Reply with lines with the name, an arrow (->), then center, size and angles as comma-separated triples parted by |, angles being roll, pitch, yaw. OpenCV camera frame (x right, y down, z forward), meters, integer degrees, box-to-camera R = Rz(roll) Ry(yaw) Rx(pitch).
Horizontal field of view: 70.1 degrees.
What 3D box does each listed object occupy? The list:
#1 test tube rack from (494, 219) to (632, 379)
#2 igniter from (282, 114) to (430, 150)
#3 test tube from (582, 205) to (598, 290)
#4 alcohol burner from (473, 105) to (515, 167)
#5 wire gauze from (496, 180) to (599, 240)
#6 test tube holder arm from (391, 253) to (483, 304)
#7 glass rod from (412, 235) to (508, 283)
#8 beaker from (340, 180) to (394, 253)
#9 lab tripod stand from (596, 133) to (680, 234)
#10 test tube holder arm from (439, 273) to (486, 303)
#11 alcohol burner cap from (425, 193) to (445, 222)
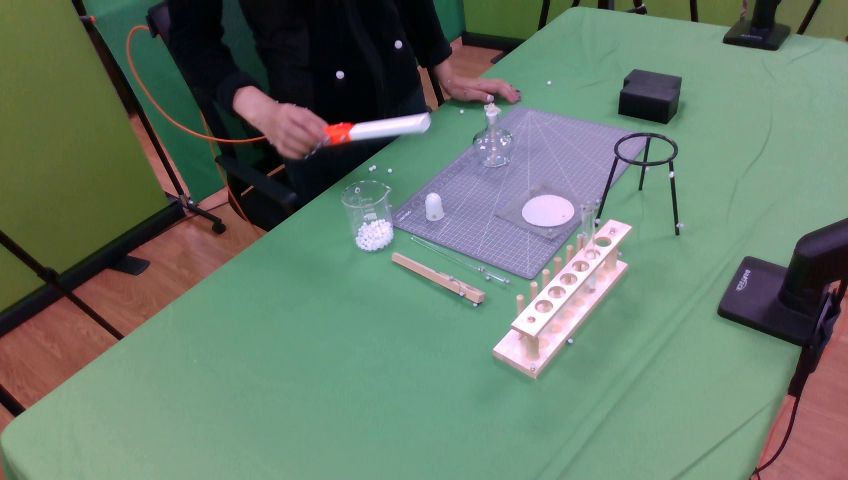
test tube rack -> 0.191, 0.068, 0.818 | 0.066, 0.085, 0.243 | 25, 51, 35
igniter -> -0.116, -0.166, 0.940 | 0.275, 0.025, 0.057 | -1, 34, 31
test tube -> 0.220, 0.014, 0.798 | 0.017, 0.151, 0.017 | -9, 43, 9
alcohol burner -> 0.128, -0.196, 1.116 | 0.078, 0.119, 0.077 | -4, 40, 4
wire gauze -> 0.206, -0.050, 1.012 | 0.125, 0.011, 0.120 | -34, 45, -26
test tube holder arm -> 0.016, 0.056, 0.917 | 0.177, 0.015, 0.013 | 24, 17, 34
glass rod -> 0.051, 0.028, 0.951 | 0.198, 0.008, 0.008 | 25, 51, 37
beaker -> -0.087, -0.037, 0.985 | 0.084, 0.101, 0.073 | -18, 41, -11
lab tripod stand -> 0.338, -0.091, 0.940 | 0.148, 0.132, 0.147 | -7, 39, 6
test tube holder arm -> 0.053, 0.070, 0.896 | 0.087, 0.015, 0.010 | 24, 17, 34
alcohol burner cap -> 0.017, -0.058, 1.029 | 0.034, 0.048, 0.033 | -6, 40, 5
